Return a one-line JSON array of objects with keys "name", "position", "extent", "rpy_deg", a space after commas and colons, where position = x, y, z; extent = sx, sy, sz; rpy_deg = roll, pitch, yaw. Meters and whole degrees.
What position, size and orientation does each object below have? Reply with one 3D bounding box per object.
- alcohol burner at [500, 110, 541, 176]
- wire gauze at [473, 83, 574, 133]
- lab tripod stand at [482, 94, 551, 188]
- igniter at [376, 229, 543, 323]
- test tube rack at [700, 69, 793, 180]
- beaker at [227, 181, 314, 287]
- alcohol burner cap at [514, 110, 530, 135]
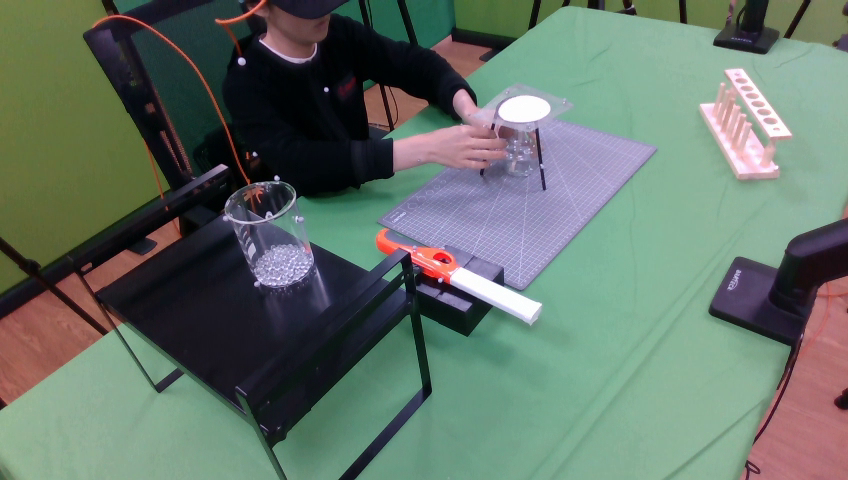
[{"name": "alcohol burner", "position": [0.174, -0.176, 1.078], "extent": [0.078, 0.119, 0.077], "rpy_deg": [-4, 39, 4]}, {"name": "wire gauze", "position": [0.167, -0.221, 1.013], "extent": [0.120, 0.011, 0.125], "rpy_deg": [30, 55, 35]}, {"name": "lab tripod stand", "position": [0.172, -0.176, 1.064], "extent": [0.148, 0.132, 0.147], "rpy_deg": [-5, 42, 5]}, {"name": "igniter", "position": [0.038, 0.044, 0.843], "extent": [0.274, 0.025, 0.057], "rpy_deg": [25, 47, 29]}, {"name": "test tube rack", "position": [0.572, -0.215, 1.089], "extent": [0.066, 0.085, 0.241], "rpy_deg": [-3, 41, 7]}, {"name": "beaker", "position": [-0.166, -0.006, 0.670], "extent": [0.074, 0.101, 0.083], "rpy_deg": [-8, 40, 0]}, {"name": "alcohol burner cap", "position": [0.195, -0.235, 1.200], "extent": [0.034, 0.048, 0.033], "rpy_deg": [-5, 42, 5]}]
